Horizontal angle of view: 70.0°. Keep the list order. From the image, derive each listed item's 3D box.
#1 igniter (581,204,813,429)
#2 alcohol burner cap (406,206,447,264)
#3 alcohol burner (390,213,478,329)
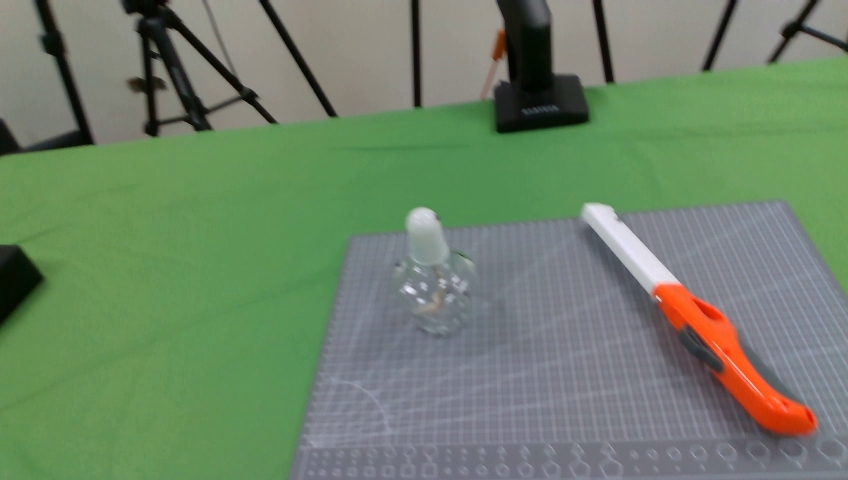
[{"bbox_3d":[0.209,0.047,0.506,0.057,0.025,0.273,2,33,-19],"label":"igniter"},{"bbox_3d":[0.001,-0.007,0.500,0.034,0.048,0.033,-5,43,5],"label":"alcohol burner cap"},{"bbox_3d":[0.007,0.021,0.523,0.078,0.120,0.077,-5,41,5],"label":"alcohol burner"}]
